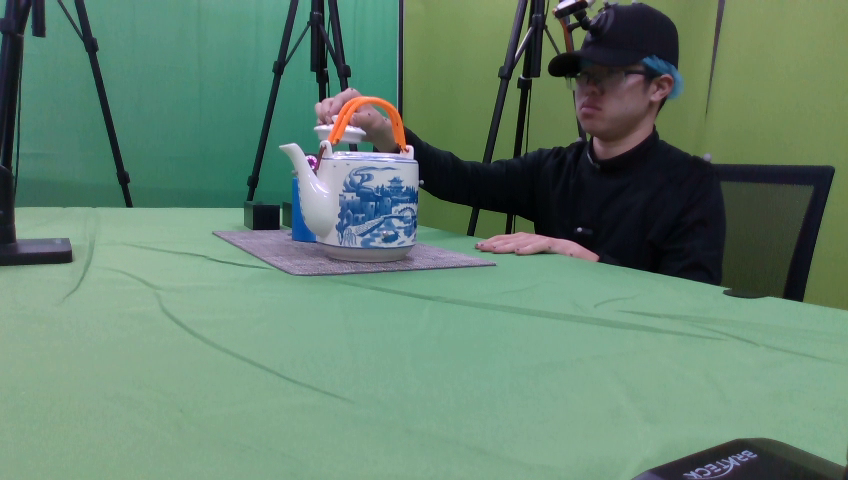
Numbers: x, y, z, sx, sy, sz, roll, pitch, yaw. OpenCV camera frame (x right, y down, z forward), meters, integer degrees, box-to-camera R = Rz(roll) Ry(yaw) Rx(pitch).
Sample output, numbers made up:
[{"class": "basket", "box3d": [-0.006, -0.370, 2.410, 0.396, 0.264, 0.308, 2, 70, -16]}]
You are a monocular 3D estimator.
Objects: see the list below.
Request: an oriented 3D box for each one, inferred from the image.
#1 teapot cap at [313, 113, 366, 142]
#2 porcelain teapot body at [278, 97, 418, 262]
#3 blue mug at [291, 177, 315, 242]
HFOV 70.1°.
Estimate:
[{"class": "teapot cap", "box3d": [-0.137, -0.183, 0.980, 0.085, 0.044, 0.085, 1, 3, 0]}, {"class": "porcelain teapot body", "box3d": [-0.104, -0.086, 0.842, 0.206, 0.225, 0.144, -4, 9, -38]}, {"class": "blue mug", "box3d": [-0.170, -0.054, 1.037, 0.117, 0.106, 0.082, -2, 9, -31]}]
